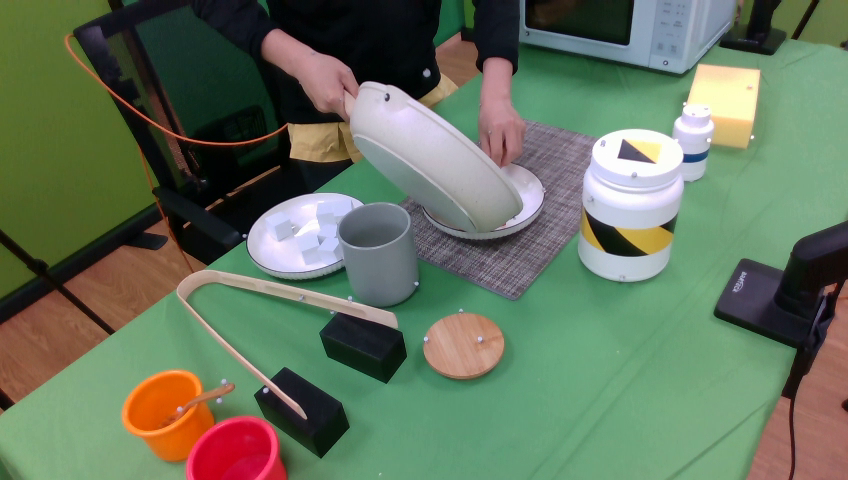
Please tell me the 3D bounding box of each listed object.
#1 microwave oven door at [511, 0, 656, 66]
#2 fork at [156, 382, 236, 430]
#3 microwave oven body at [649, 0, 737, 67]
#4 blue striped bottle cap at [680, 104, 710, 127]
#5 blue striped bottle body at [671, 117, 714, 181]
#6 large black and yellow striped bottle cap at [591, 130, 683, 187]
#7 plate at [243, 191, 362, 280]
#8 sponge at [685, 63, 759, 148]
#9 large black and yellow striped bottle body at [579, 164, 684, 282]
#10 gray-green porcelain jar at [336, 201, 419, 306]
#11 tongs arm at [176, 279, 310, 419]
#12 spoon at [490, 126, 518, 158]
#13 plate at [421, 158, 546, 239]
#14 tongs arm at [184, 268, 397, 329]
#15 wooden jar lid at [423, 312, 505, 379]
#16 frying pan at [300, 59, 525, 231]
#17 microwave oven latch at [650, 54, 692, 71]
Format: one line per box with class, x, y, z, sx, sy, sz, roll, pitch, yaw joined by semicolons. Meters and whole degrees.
microwave oven door;0.351;-0.540;1.349;0.353;0.245;0.039;24;50;31
fork;-0.262;0.189;0.690;0.018;0.206;0.028;49;43;-7
microwave oven body;0.475;-0.602;1.411;0.438;0.261;0.327;23;50;32
blue striped bottle cap;0.443;-0.205;0.989;0.044;0.021;0.044;-1;41;2
blue striped bottle body;0.449;-0.165;1.022;0.063;0.121;0.063;-5;41;4
large black and yellow striped bottle cap;0.282;-0.111;0.803;0.115;0.019;0.114;-3;41;3
plate;-0.188;-0.004;0.992;0.207;0.039;0.206;-3;41;3
sponge;0.569;-0.263;1.164;0.117;0.061;0.207;12;45;22
large black and yellow striped bottle body;0.291;-0.046;0.859;0.131;0.185;0.130;-4;41;4
gray-green porcelain jar;-0.064;0.024;0.872;0.106;0.127;0.105;-4;40;4
tongs arm;-0.254;0.133;0.801;0.028;0.028;0.384;-41;41;-23
spoon;0.110;-0.142;1.001;0.041;0.021;0.194;-30;10;49
plate;0.100;-0.067;1.017;0.209;0.038;0.208;-4;40;4
tongs arm;-0.202;0.084;0.847;0.382;0.027;0.051;11;45;34
wooden jar lid;0.053;0.142;0.800;0.108;0.021;0.108;-5;39;4
frying pan;-0.055;-0.167;0.924;0.103;0.309;0.483;-46;56;-1
microwave oven latch;0.531;-0.386;1.301;0.078;0.029;0.030;25;51;32
